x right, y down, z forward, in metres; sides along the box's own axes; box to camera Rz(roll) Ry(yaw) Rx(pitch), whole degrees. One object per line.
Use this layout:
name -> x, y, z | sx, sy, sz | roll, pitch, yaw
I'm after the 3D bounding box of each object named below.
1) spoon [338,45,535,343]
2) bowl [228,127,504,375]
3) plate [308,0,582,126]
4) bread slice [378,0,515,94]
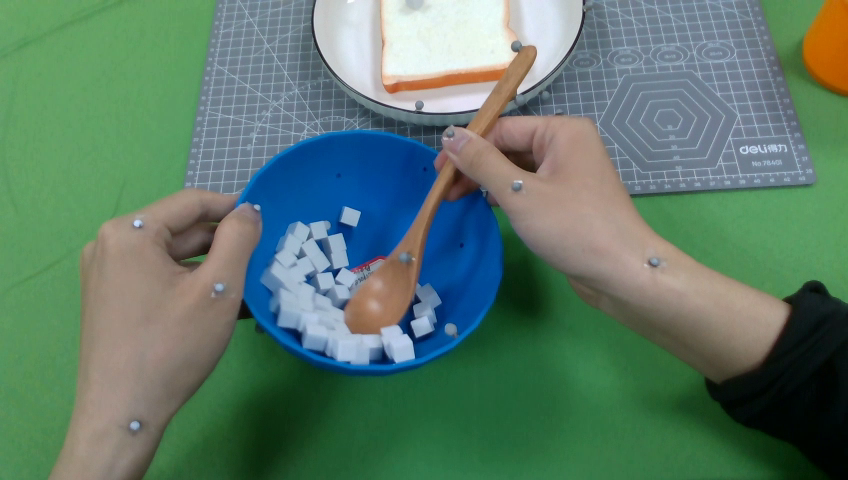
spoon -> 0.009, -0.026, 0.338 | 0.041, 0.022, 0.194 | 35, 97, 45
bowl -> -0.035, 0.016, 0.362 | 0.152, 0.077, 0.150 | 6, 61, -9
plate -> 0.015, -0.172, 0.476 | 0.209, 0.038, 0.207 | -2, 65, 5
bread slice -> 0.012, -0.176, 0.481 | 0.107, 0.018, 0.133 | -10, 67, 2
